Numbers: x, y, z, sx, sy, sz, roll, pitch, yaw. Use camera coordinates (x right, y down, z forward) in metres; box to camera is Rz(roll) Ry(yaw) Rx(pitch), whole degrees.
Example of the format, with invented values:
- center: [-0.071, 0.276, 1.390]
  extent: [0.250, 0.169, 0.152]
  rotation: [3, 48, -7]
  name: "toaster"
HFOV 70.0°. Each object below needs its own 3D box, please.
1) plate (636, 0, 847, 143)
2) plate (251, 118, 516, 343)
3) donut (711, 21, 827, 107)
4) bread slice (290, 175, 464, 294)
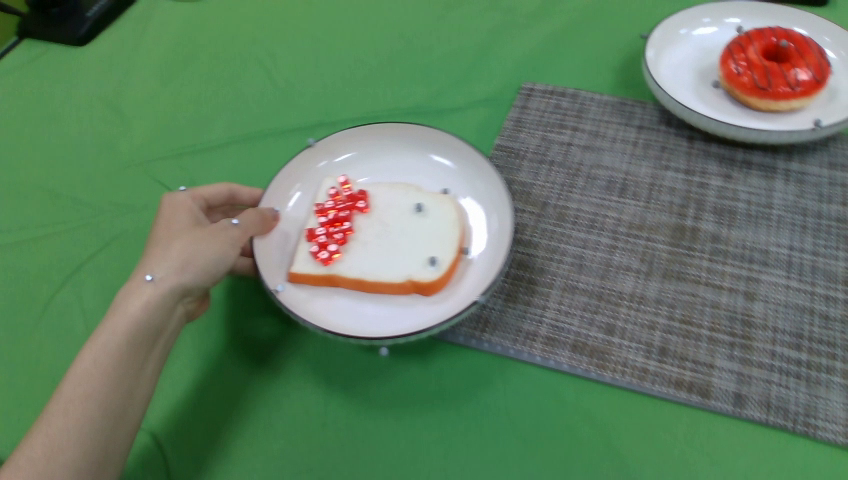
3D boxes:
- center: [0.309, -0.161, 0.580]
  extent: [0.207, 0.039, 0.205]
  rotation: [-3, 52, 4]
  name: "plate"
- center: [-0.031, -0.011, 0.486]
  extent: [0.209, 0.038, 0.207]
  rotation: [-2, 57, 4]
  name: "plate"
- center: [0.321, -0.164, 0.566]
  extent: [0.099, 0.049, 0.098]
  rotation: [-3, 54, 4]
  name: "donut"
- center: [-0.033, -0.007, 0.487]
  extent: [0.131, 0.019, 0.104]
  rotation: [6, 58, 10]
  name: "bread slice"
